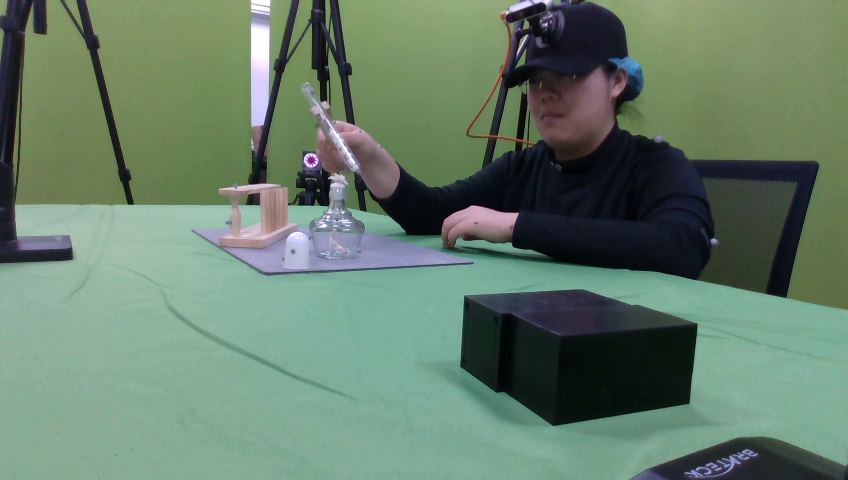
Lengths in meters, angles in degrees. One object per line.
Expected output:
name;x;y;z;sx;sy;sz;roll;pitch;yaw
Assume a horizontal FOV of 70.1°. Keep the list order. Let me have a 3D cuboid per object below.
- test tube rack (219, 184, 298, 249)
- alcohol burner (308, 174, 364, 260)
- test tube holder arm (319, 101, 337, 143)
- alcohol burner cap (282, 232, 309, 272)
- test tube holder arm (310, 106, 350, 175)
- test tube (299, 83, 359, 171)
test tube rack;-0.266;-0.046;1.001;0.067;0.085;0.242;3;7;0
alcohol burner;-0.121;-0.033;0.841;0.078;0.119;0.078;3;5;0
test tube holder arm;-0.137;-0.165;0.863;0.010;0.015;0.088;-29;-22;-13
alcohol burner cap;-0.157;0.014;0.740;0.034;0.048;0.034;2;6;0
test tube holder arm;-0.138;-0.145;0.903;0.013;0.015;0.179;-31;-22;-6
test tube;-0.132;-0.157;0.837;0.017;0.150;0.017;-31;-13;-8
